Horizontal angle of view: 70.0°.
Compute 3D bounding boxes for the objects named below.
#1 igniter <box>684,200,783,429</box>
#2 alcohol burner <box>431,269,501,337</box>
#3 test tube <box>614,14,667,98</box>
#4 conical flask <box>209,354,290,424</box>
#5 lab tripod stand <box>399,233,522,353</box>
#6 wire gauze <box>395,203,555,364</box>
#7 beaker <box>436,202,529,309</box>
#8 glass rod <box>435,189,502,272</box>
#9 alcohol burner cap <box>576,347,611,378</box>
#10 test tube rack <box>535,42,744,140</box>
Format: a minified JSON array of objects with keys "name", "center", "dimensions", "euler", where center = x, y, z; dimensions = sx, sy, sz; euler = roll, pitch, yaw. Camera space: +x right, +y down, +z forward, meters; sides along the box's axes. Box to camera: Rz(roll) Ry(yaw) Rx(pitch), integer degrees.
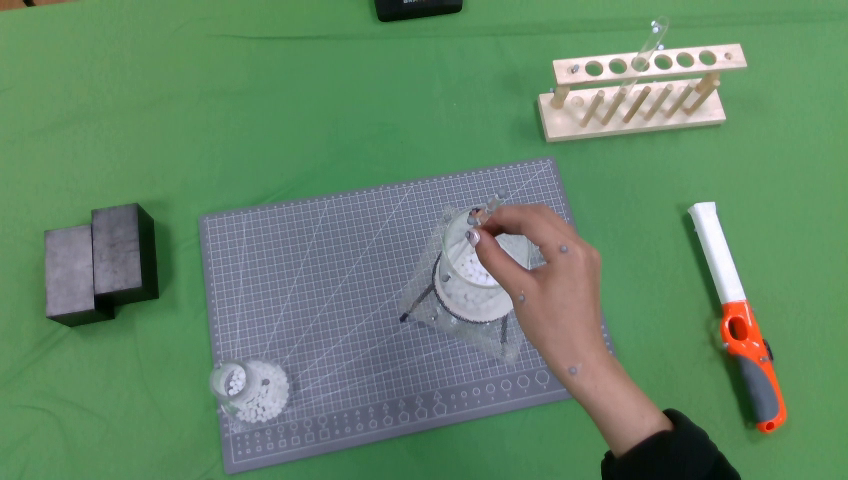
[{"name":"igniter","center":[0.367,0.082,0.721],"dimensions":[0.057,0.025,0.274],"euler":[-5,72,-16]},{"name":"alcohol burner","center":[0.047,0.065,0.659],"dimensions":[0.078,0.120,0.077],"euler":[0,72,-1]},{"name":"test tube","center":[0.258,-0.217,0.732],"dimensions":[0.017,0.151,0.017],"euler":[0,71,0]},{"name":"conical flask","center":[-0.182,0.145,0.613],"dimensions":[0.075,0.122,0.075],"euler":[1,71,-3]},{"name":"lab tripod stand","center":[0.045,0.058,0.651],"dimensions":[0.148,0.132,0.147],"euler":[1,73,-2]},{"name":"wire gauze","center":[0.051,0.038,0.588],"dimensions":[0.125,0.011,0.121],"euler":[25,75,4]},{"name":"beaker","center":[0.050,0.021,0.543],"dimensions":[0.083,0.101,0.074],"euler":[38,74,9]},{"name":"glass rod","center":[0.031,-0.002,0.485],"dimensions":[0.008,0.200,0.008],"euler":[3,72,-10]},{"name":"alcohol burner cap","center":[0.193,0.135,0.682],"dimensions":[0.034,0.048,0.033],"euler":[1,70,-3]},{"name":"test tube rack","center":[0.275,-0.189,0.776],"dimensions":[0.243,0.085,0.066],"euler":[-7,71,-5]}]
